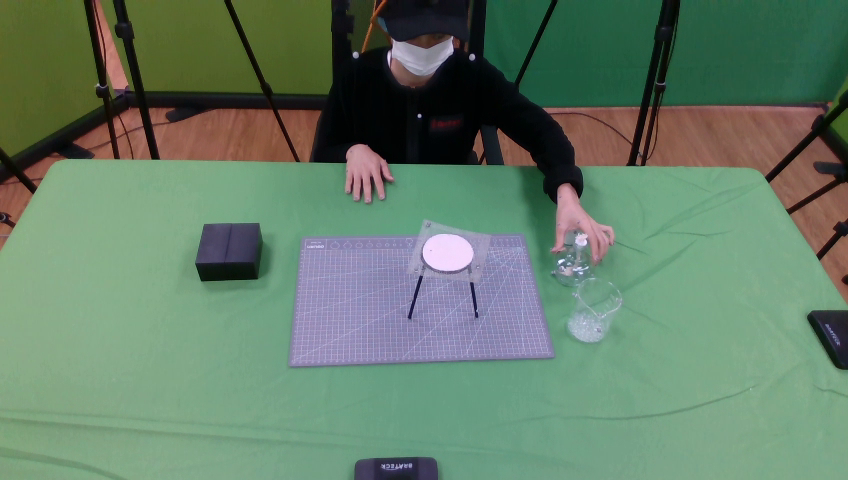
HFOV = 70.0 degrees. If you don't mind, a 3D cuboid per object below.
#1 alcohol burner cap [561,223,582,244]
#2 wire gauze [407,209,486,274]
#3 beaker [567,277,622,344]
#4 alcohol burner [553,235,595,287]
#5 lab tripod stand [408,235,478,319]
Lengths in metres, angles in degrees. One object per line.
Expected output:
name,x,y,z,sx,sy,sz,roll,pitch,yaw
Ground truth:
alcohol burner cap,0.300,-0.016,1.218,0.034,0.048,0.033,5,67,-11
wire gauze,0.036,0.003,1.001,0.125,0.011,0.120,-7,52,-1
beaker,0.291,0.127,1.045,0.074,0.101,0.083,7,47,4
alcohol burner,0.282,0.032,1.127,0.078,0.120,0.077,1,48,-1
lab tripod stand,0.032,0.065,1.057,0.148,0.132,0.147,1,45,-1
